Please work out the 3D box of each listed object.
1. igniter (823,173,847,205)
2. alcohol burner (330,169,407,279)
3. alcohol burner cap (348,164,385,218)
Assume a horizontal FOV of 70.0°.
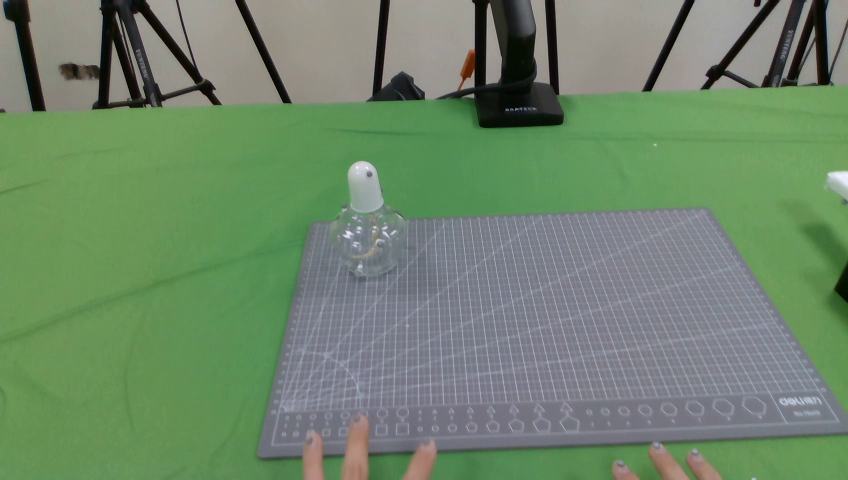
[{"bbox_3d":[0.448,0.010,0.528,0.057,0.025,0.274,-3,33,-3],"label":"igniter"},{"bbox_3d":[-0.055,-0.020,0.591,0.078,0.120,0.077,0,39,0],"label":"alcohol burner"},{"bbox_3d":[-0.056,-0.049,0.569,0.034,0.048,0.033,-3,39,3],"label":"alcohol burner cap"}]
